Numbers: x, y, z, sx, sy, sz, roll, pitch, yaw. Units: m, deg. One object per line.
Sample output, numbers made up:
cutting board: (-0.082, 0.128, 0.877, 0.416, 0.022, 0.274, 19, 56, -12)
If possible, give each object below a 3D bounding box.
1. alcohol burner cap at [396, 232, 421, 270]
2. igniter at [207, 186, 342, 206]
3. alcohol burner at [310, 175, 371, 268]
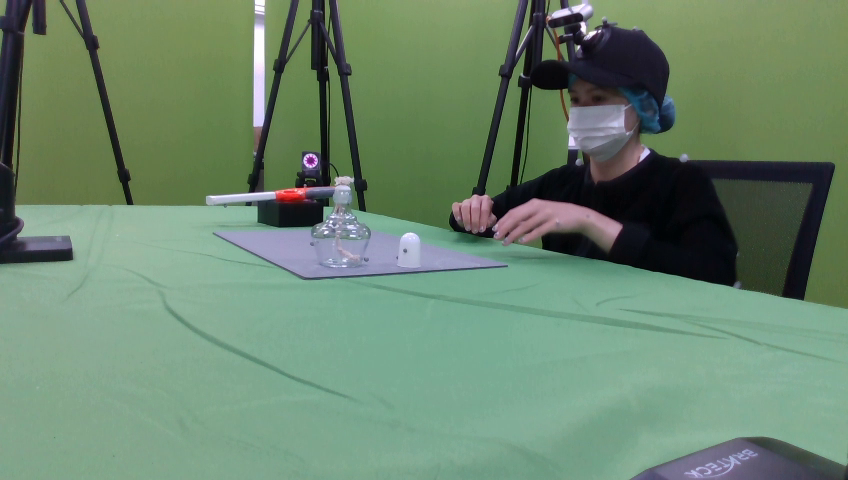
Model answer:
alcohol burner cap: (-0.020, 0.014, 0.795, 0.034, 0.048, 0.034, 2, 6, 0)
igniter: (-0.300, -0.091, 1.241, 0.278, 0.025, 0.057, -8, 11, -34)
alcohol burner: (-0.107, -0.024, 0.778, 0.078, 0.119, 0.078, 3, 5, 0)
